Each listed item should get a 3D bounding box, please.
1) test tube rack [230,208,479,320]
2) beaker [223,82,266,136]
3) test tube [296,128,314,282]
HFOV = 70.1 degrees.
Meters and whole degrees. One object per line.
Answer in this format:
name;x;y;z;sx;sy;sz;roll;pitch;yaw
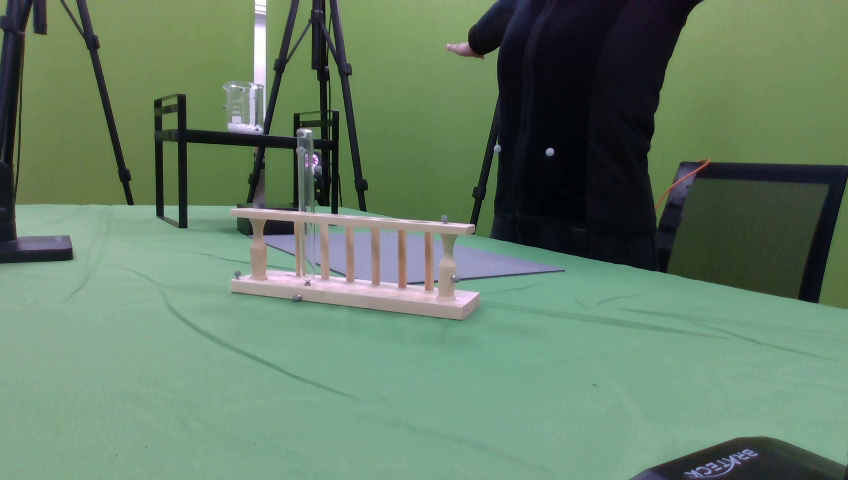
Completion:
test tube rack;-0.069;0.017;0.598;0.242;0.085;0.067;5;8;18
beaker;-0.362;-0.262;1.214;0.084;0.100;0.074;2;7;-1
test tube;-0.116;-0.033;0.593;0.017;0.150;0.017;0;6;0
